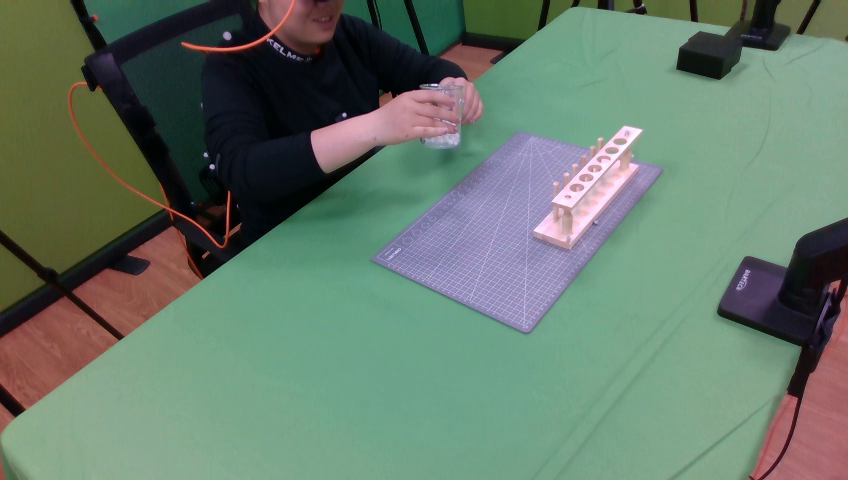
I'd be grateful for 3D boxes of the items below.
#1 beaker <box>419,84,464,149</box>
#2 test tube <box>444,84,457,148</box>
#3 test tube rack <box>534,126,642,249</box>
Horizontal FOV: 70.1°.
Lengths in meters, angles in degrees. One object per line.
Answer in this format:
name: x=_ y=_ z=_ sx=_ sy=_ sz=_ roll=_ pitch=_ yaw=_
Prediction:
beaker: x=0.029 y=-0.209 z=1.018 sx=0.074 sy=0.100 sz=0.084 roll=4 pitch=20 yaw=8
test tube: x=0.050 y=-0.223 z=1.106 sx=0.017 sy=0.151 sz=0.017 roll=-3 pitch=56 yaw=5
test tube rack: x=0.271 y=-0.095 z=0.990 sx=0.066 sy=0.085 sz=0.243 roll=23 pitch=49 yaw=33
